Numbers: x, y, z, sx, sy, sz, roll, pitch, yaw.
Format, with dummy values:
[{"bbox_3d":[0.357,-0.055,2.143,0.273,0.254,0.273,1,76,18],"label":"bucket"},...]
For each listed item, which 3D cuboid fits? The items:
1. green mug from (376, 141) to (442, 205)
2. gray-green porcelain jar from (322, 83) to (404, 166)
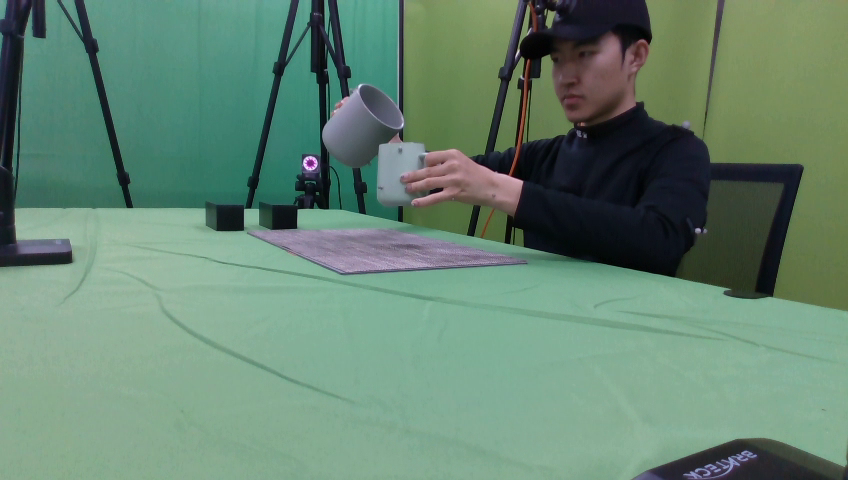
[{"bbox_3d":[-0.023,-0.113,1.024,0.125,0.105,0.093,2,6,35],"label":"green mug"},{"bbox_3d":[-0.116,-0.205,1.103,0.126,0.105,0.106,-41,-18,30],"label":"gray-green porcelain jar"}]
